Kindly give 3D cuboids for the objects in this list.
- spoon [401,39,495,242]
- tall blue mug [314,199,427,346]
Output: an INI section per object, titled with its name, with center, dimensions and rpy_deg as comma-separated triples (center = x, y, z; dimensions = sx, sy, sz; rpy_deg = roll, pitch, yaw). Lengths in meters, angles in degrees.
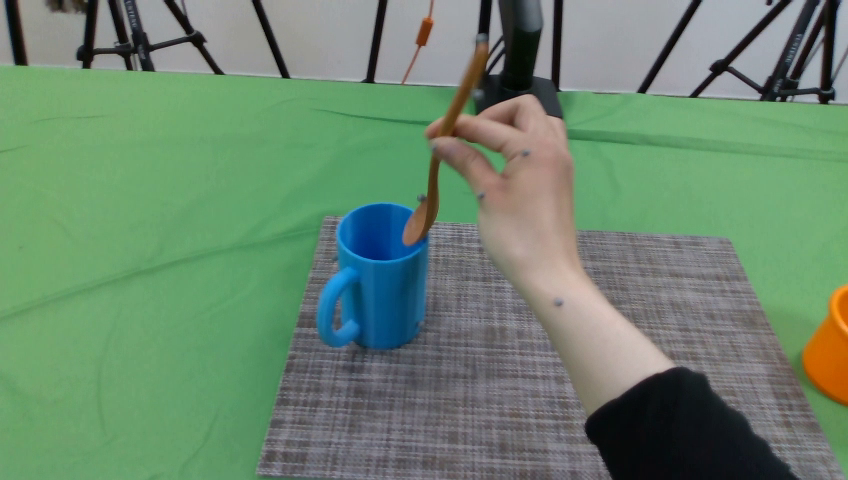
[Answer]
[spoon]
center = 0.012, -0.061, 0.429
dimensions = 0.022, 0.195, 0.041
rpy_deg = 13, 53, -6
[tall blue mug]
center = -0.042, 0.040, 0.516
dimensions = 0.078, 0.109, 0.106
rpy_deg = 10, 43, 5
